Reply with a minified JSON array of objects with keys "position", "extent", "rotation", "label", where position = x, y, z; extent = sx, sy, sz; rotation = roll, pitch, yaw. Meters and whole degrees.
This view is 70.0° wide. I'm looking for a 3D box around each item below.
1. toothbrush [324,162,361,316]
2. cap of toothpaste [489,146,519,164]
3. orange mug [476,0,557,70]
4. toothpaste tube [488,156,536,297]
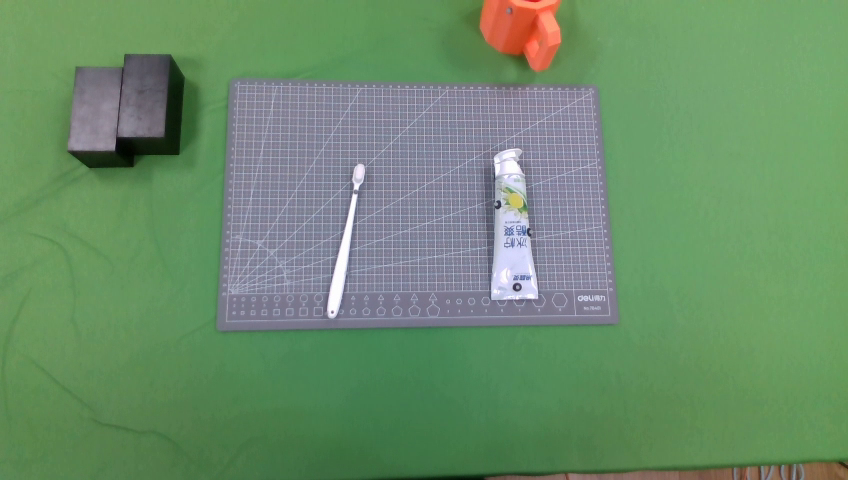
[{"position":[-0.091,-0.004,0.685],"extent":[0.014,0.016,0.181],"rotation":[12,78,-16],"label":"toothbrush"},{"position":[0.095,-0.098,0.712],"extent":[0.037,0.037,0.011],"rotation":[-13,75,-8],"label":"cap of toothpaste"},{"position":[0.119,-0.273,0.726],"extent":[0.083,0.101,0.125],"rotation":[-22,75,-9],"label":"orange mug"},{"position":[0.097,-0.018,0.700],"extent":[0.055,0.034,0.164],"rotation":[-3,81,2],"label":"toothpaste tube"}]
